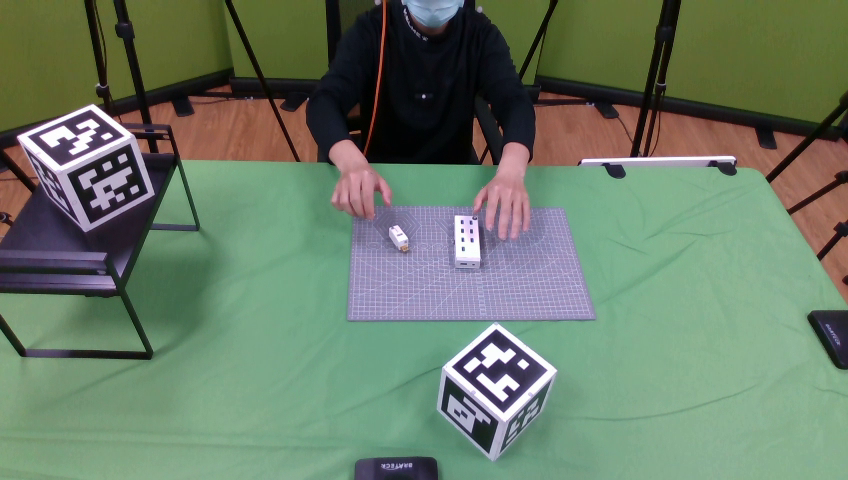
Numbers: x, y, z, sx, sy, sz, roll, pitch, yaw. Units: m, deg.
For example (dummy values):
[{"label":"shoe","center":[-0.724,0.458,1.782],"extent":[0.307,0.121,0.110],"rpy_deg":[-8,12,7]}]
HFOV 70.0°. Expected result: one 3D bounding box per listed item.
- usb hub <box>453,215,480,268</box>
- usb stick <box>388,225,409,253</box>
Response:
[{"label":"usb hub","center":[0.084,0.002,1.195],"extent":[0.049,0.025,0.124],"rpy_deg":[3,46,-2]},{"label":"usb stick","center":[-0.048,0.000,1.187],"extent":[0.021,0.027,0.059],"rpy_deg":[-19,53,-24]}]
